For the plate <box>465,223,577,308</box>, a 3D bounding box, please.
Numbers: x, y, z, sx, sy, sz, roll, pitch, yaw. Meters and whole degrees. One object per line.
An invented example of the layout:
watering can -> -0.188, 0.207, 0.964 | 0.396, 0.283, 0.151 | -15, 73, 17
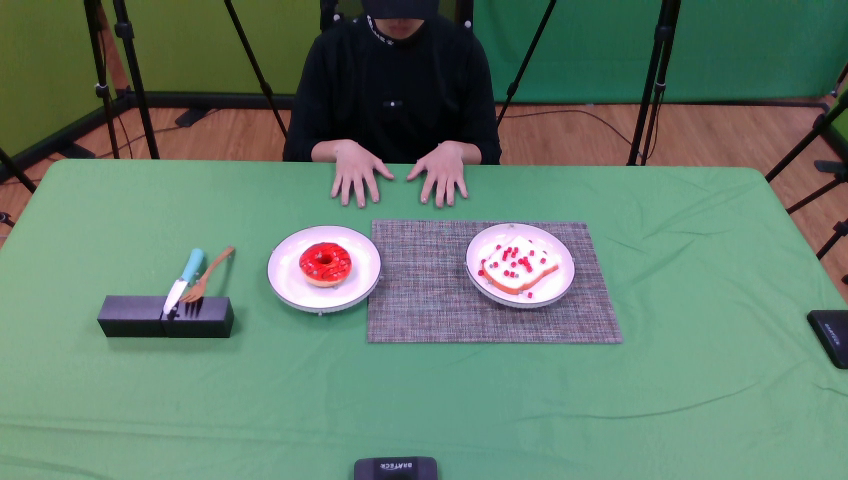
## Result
plate -> 0.180, 0.051, 1.144 | 0.209, 0.038, 0.208 | 2, 45, -2

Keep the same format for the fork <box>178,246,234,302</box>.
fork -> -0.380, 0.057, 1.075 | 0.028, 0.019, 0.206 | 3, 28, 5

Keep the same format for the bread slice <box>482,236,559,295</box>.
bread slice -> 0.177, 0.050, 1.148 | 0.131, 0.019, 0.104 | -31, 55, -30

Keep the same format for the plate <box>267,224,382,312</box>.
plate -> -0.182, 0.054, 1.120 | 0.208, 0.039, 0.206 | 2, 46, -2

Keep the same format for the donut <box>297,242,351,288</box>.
donut -> -0.182, 0.045, 1.112 | 0.099, 0.048, 0.098 | 4, 45, -4

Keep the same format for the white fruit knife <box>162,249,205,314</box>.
white fruit knife -> -0.420, 0.070, 1.063 | 0.027, 0.016, 0.206 | -1, 29, -2
